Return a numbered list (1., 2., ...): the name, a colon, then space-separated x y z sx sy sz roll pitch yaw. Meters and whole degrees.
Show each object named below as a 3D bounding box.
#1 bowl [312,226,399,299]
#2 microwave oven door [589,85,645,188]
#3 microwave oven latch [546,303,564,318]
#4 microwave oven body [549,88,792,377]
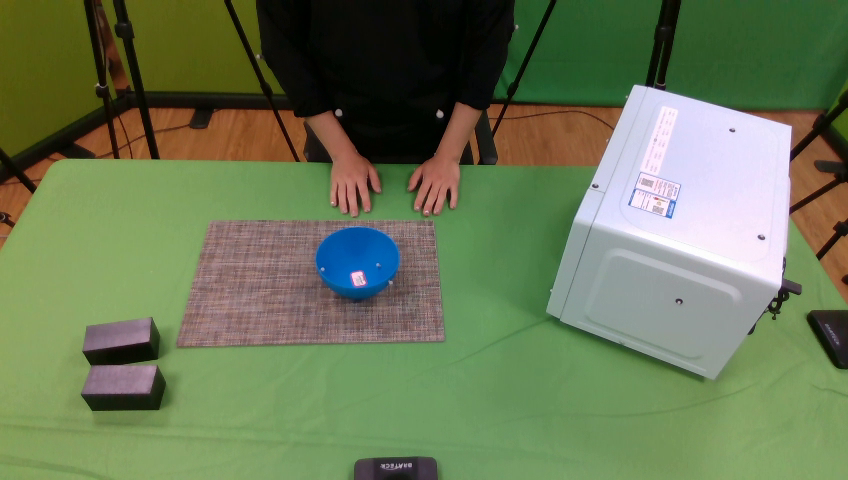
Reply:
1. bowl: -0.120 0.054 1.091 0.151 0.077 0.150 2 46 -2
2. microwave oven door: 0.342 -0.107 1.149 0.039 0.245 0.354 20 48 15
3. microwave oven latch: 0.242 0.102 1.081 0.030 0.029 0.079 21 48 17
4. microwave oven body: 0.456 -0.028 1.088 0.325 0.261 0.440 20 47 16
